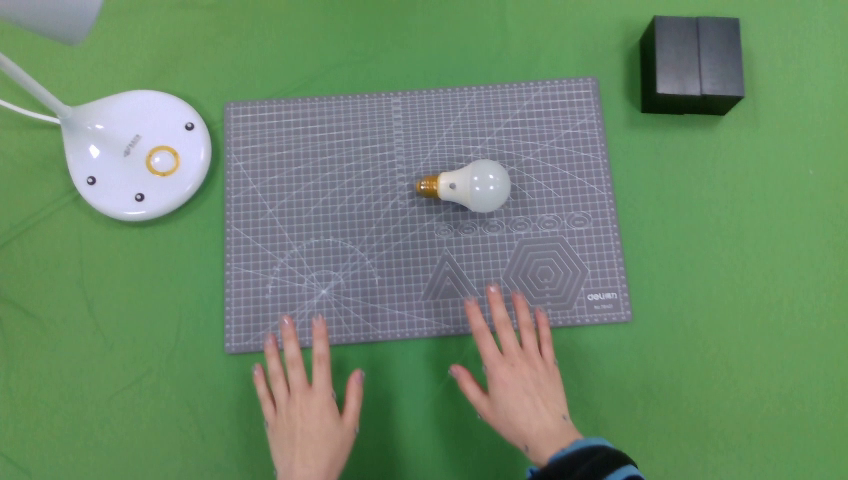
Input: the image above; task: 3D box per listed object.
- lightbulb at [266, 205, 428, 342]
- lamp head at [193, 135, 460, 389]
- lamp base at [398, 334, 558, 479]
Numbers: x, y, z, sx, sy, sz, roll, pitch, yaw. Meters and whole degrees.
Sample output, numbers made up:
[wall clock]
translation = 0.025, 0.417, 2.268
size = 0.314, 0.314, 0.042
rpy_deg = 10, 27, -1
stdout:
[lightbulb]
translation = -0.044, 0.020, 0.278
size = 0.107, 0.060, 0.059
rpy_deg = -19, 60, 44
[lamp head]
translation = -0.057, 0.024, 0.301
size = 0.113, 0.123, 0.111
rpy_deg = 18, 60, -33
[lamp base]
translation = 0.046, 0.151, 0.594
size = 0.179, 0.181, 0.159
rpy_deg = 9, 70, 11
